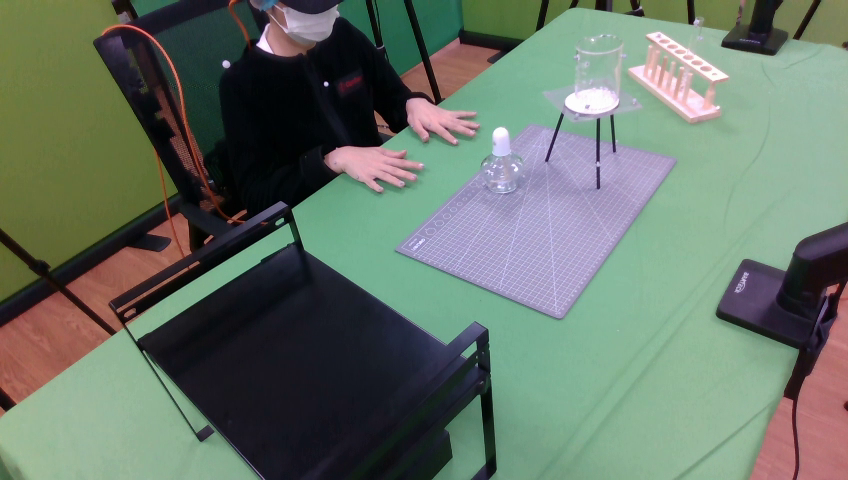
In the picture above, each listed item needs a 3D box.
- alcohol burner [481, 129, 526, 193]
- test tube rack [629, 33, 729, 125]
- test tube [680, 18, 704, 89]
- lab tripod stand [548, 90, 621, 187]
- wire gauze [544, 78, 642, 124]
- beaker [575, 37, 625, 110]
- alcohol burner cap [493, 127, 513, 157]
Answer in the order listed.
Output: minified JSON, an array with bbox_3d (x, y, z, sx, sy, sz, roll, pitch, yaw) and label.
[{"bbox_3d":[0.138,-0.142,1.052,0.078,0.119,0.077,-5,42,5],"label":"alcohol burner"},{"bbox_3d":[0.516,-0.337,1.248,0.067,0.085,0.240,-14,41,-7],"label":"test tube rack"},{"bbox_3d":[0.532,-0.367,1.203,0.017,0.151,0.017,-3,46,4],"label":"test tube"},{"bbox_3d":[0.289,-0.184,1.062,0.148,0.132,0.147,-6,41,6],"label":"lab tripod stand"},{"bbox_3d":[0.282,-0.234,1.021,0.125,0.011,0.120,-17,38,-4],"label":"wire gauze"},{"bbox_3d":[0.283,-0.271,0.988,0.074,0.101,0.083,-10,39,1],"label":"beaker"},{"bbox_3d":[0.132,-0.169,1.030,0.034,0.048,0.033,-7,36,5],"label":"alcohol burner cap"}]
